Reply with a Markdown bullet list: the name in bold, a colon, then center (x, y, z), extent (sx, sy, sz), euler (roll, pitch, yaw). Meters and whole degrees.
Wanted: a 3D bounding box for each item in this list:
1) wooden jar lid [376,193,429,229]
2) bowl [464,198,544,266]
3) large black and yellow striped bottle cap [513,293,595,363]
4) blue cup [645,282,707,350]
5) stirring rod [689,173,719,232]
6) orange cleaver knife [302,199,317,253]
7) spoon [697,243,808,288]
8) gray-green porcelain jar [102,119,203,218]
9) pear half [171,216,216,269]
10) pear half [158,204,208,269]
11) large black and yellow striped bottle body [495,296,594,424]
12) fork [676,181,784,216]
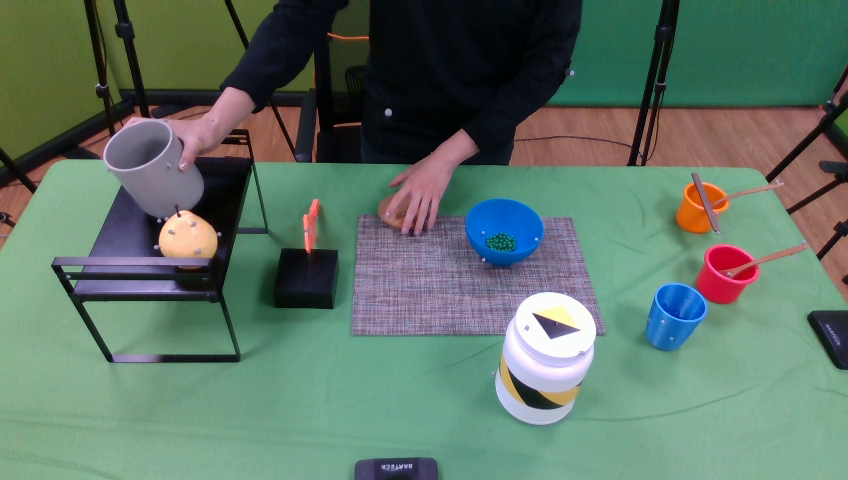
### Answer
- **wooden jar lid**: center (-0.044, -0.059, 1.246), extent (0.108, 0.021, 0.107), euler (3, 40, -3)
- **bowl**: center (0.149, -0.004, 1.167), extent (0.151, 0.077, 0.150), euler (2, 46, -2)
- **large black and yellow striped bottle cap**: center (0.186, 0.123, 0.863), extent (0.115, 0.019, 0.114), euler (3, 45, -3)
- **blue cup**: center (0.425, 0.136, 1.042), extent (0.092, 0.101, 0.092), euler (1, 44, -1)
- **stirring rod**: center (0.566, -0.079, 1.225), extent (0.014, 0.006, 0.175), euler (2, 45, 2)
- **orange cleaver knife**: center (-0.219, -0.031, 1.168), extent (0.012, 0.077, 0.210), euler (-5, 17, -3)
- **spoon**: center (0.601, 0.045, 1.115), extent (0.194, 0.022, 0.041), euler (-29, 34, 30)
- **gray-green porcelain jar**: center (-0.410, -0.104, 0.934), extent (0.106, 0.127, 0.105), euler (-4, 54, 6)
- **pear half**: center (-0.323, 0.007, 0.867), extent (0.031, 0.088, 0.070), euler (25, 46, 20)
- **pear half**: center (-0.352, -0.015, 0.873), extent (0.056, 0.110, 0.076), euler (26, 45, 19)
- **large black and yellow striped bottle body**: center (0.183, 0.182, 0.923), extent (0.131, 0.185, 0.130), euler (2, 46, -2)
- **fork**: center (0.618, -0.084, 1.235), extent (0.207, 0.019, 0.028), euler (-23, 21, 38)
